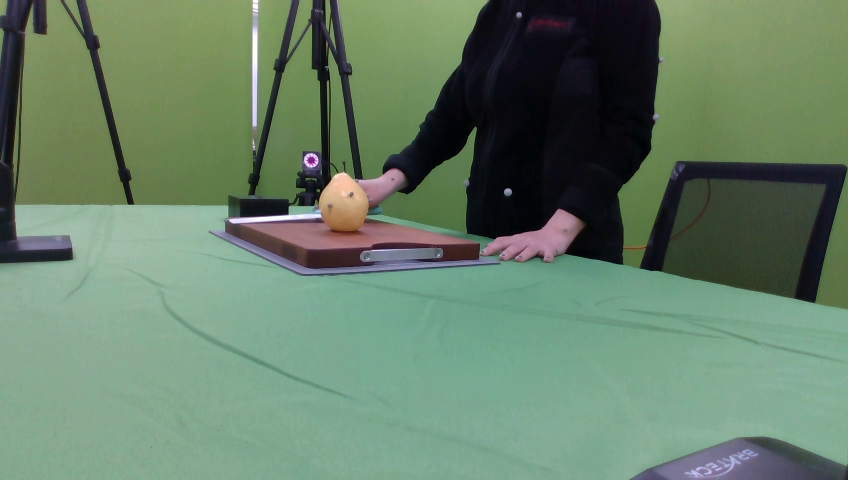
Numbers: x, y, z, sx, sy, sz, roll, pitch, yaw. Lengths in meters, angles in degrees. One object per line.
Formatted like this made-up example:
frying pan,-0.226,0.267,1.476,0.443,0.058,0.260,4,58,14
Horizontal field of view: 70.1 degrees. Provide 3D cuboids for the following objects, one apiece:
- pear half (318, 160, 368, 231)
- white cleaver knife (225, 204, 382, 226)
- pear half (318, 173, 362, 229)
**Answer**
pear half,-0.120,-0.067,0.927,0.077,0.110,0.055,-7,11,-29
white cleaver knife,-0.202,-0.039,1.069,0.288,0.021,0.065,-8,19,-32
pear half,-0.136,-0.062,0.959,0.071,0.088,0.031,-7,11,-29
